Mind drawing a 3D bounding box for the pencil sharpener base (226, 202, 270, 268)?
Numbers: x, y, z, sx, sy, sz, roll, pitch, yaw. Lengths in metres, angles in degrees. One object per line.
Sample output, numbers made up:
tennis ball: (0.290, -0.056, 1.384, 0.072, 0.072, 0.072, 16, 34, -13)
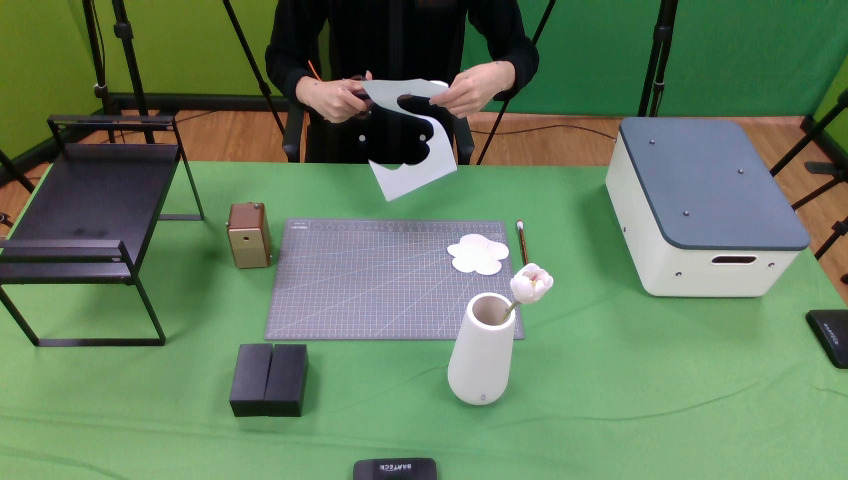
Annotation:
pencil sharpener base: (-0.323, -0.010, 1.123, 0.061, 0.107, 0.076, -3, 46, -7)

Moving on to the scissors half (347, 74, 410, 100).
scissors half: (-0.084, -0.270, 1.086, 0.013, 0.040, 0.174, -25, 35, -38)

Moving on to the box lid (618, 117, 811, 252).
box lid: (0.534, -0.117, 1.149, 0.263, 0.015, 0.369, 0, 47, -3)

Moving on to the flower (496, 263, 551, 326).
flower: (0.102, 0.120, 0.853, 0.044, 0.363, 0.038, -1, 64, -10)

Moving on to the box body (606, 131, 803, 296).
box body: (0.530, -0.067, 1.204, 0.254, 0.161, 0.361, 1, 46, -4)

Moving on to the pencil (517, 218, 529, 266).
pencil: (0.200, 0.027, 1.196, 0.012, 0.012, 0.193, 1, 48, -3)

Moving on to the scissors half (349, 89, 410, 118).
scissors half: (-0.081, -0.250, 1.092, 0.013, 0.040, 0.174, -18, 9, -39)

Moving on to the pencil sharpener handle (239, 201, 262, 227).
pencil sharpener handle: (-0.325, -0.055, 1.150, 0.036, 0.068, 0.030, -13, 46, 4)

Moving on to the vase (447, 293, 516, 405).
vase: (0.091, 0.169, 0.921, 0.098, 0.201, 0.097, 3, 47, -3)
